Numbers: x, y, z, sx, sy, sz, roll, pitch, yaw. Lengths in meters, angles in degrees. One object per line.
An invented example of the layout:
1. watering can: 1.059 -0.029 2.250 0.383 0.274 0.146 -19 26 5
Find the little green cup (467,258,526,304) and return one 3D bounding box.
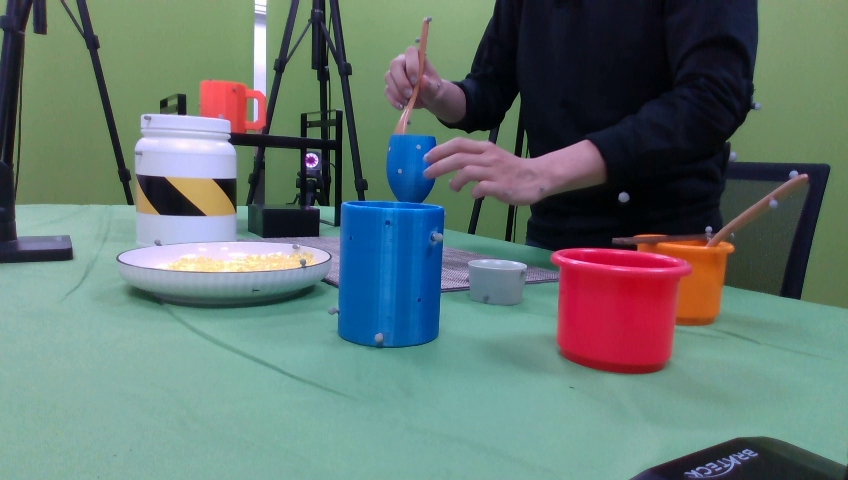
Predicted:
1. little green cup: 0.074 0.042 0.625 0.061 0.038 0.061 3 8 0

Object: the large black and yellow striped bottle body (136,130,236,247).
1. large black and yellow striped bottle body: -0.332 -0.076 0.851 0.131 0.184 0.130 3 8 0

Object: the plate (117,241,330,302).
1. plate: -0.203 0.031 0.629 0.209 0.038 0.209 3 7 0

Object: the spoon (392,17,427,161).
1. spoon: -0.017 -0.204 0.818 0.022 0.193 0.041 14 3 -14

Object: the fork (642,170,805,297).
1. fork: 0.261 0.004 0.545 0.028 0.018 0.207 5 -37 -15

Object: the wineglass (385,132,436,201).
1. wineglass: -0.020 -0.061 0.838 0.074 0.172 0.073 2 7 0

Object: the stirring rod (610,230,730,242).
1. stirring rod: 0.241 -0.004 0.582 0.177 0.006 0.014 -3 9 -34

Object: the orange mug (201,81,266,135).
1. orange mug: -0.377 -0.260 1.198 0.126 0.101 0.083 -3 8 -6

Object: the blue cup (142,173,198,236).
1. blue cup: -0.425 -0.060 1.014 0.093 0.100 0.092 4 9 0

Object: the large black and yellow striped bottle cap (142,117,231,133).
1. large black and yellow striped bottle cap: -0.328 -0.159 0.839 0.115 0.019 0.115 1 9 0

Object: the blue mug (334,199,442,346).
1. blue mug: -0.034 0.020 0.498 0.083 0.106 0.116 0 7 -20
